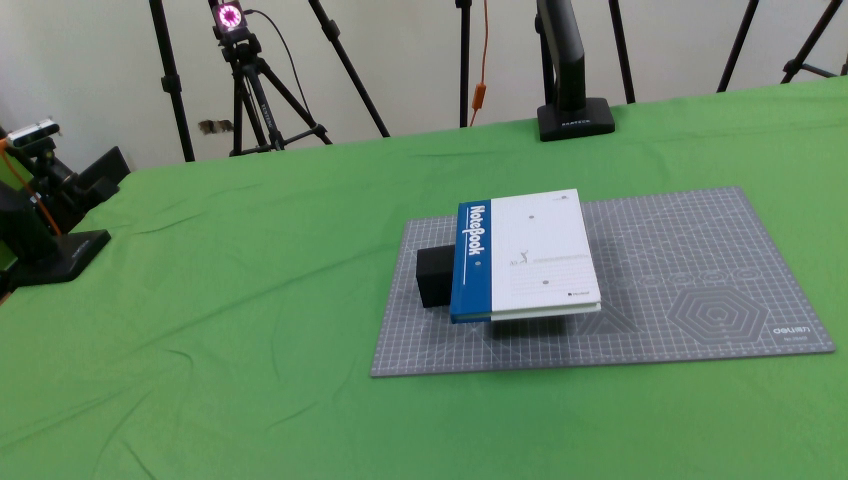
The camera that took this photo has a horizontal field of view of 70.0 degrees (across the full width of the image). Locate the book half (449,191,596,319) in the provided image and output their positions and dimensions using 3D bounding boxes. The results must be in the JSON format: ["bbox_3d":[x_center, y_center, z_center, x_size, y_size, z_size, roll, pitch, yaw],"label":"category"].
[{"bbox_3d":[0.102,0.009,0.669,0.143,0.007,0.208,-7,34,10],"label":"book half"}]

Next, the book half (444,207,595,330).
[{"bbox_3d":[0.100,0.016,0.673,0.148,0.016,0.208,-7,35,10],"label":"book half"}]
